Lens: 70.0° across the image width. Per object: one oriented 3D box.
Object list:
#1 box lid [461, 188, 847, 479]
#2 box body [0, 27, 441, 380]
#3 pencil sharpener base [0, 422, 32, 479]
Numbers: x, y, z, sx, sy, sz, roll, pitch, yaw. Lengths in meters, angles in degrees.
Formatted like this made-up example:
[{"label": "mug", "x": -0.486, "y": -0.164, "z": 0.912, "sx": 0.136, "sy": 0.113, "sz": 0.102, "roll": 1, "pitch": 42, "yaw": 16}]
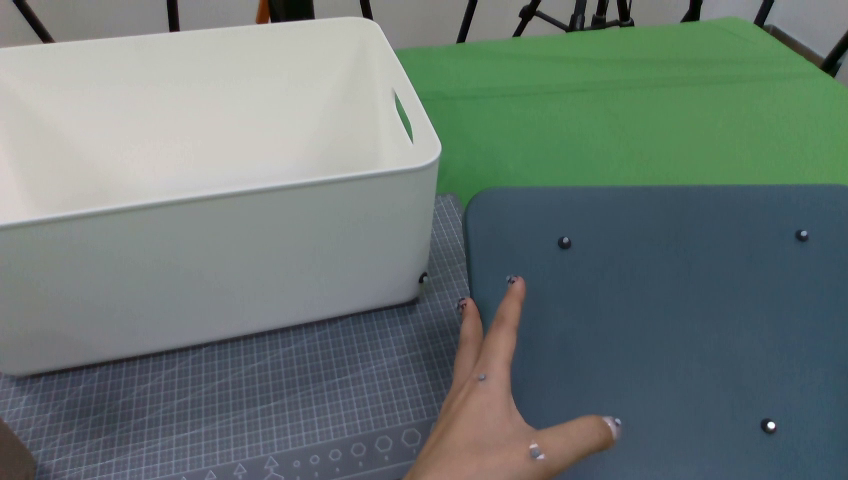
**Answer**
[{"label": "box lid", "x": 0.217, "y": 0.073, "z": 0.457, "sx": 0.372, "sy": 0.015, "sz": 0.261, "roll": -1, "pitch": 62, "yaw": -7}, {"label": "box body", "x": -0.189, "y": -0.046, "z": 0.527, "sx": 0.365, "sy": 0.162, "sz": 0.251, "roll": -10, "pitch": 44, "yaw": -13}, {"label": "pencil sharpener base", "x": -0.294, "y": 0.142, "z": 0.356, "sx": 0.077, "sy": 0.108, "sz": 0.060, "roll": -15, "pitch": 46, "yaw": -17}]
